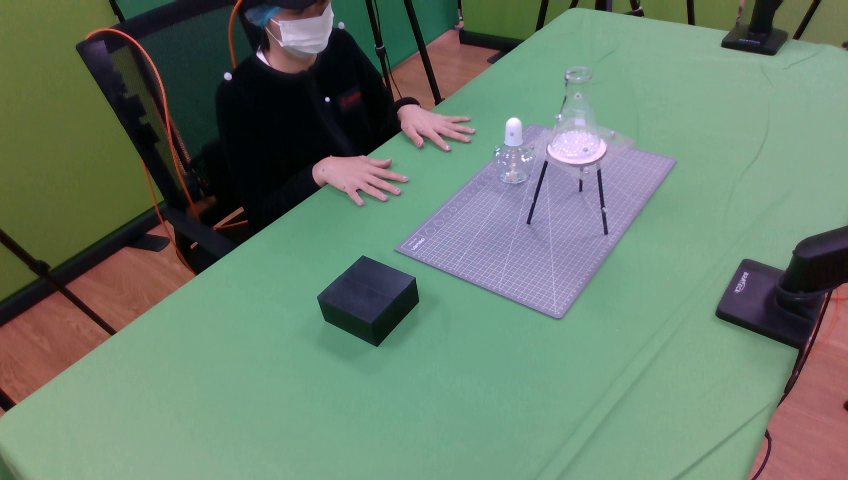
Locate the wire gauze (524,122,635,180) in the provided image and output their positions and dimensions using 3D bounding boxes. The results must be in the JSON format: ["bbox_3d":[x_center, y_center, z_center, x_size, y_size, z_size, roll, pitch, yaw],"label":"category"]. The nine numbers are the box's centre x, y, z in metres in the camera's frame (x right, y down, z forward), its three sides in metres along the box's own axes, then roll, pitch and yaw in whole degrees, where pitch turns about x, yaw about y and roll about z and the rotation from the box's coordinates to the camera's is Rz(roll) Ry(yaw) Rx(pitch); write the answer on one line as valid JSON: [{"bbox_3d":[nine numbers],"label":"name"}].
[{"bbox_3d":[0.233,-0.142,0.913,0.122,0.011,0.124,-31,43,-26],"label":"wire gauze"}]

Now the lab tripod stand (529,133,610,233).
[{"bbox_3d":[0.236,-0.089,0.953,0.148,0.132,0.147,-5,42,5],"label":"lab tripod stand"}]

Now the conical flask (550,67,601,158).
[{"bbox_3d":[0.221,-0.186,0.875,0.075,0.122,0.075,-5,40,5],"label":"conical flask"}]

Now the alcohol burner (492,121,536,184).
[{"bbox_3d":[0.159,-0.158,1.064,0.078,0.119,0.077,-3,41,3],"label":"alcohol burner"}]

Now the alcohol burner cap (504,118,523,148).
[{"bbox_3d":[0.154,-0.186,1.042,0.034,0.048,0.033,-4,33,3],"label":"alcohol burner cap"}]
